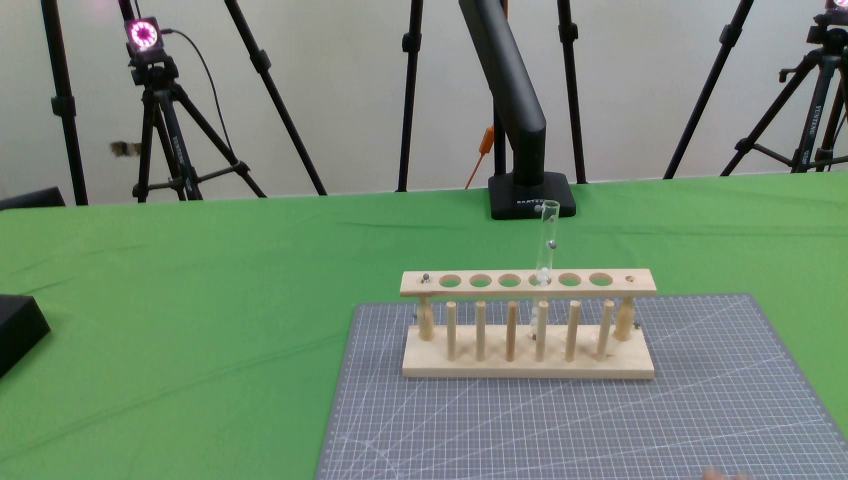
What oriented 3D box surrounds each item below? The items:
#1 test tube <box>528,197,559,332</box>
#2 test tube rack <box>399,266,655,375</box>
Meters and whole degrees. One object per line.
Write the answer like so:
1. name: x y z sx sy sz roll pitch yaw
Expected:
1. test tube: 0.115 0.028 0.586 0.017 0.151 0.017 0 30 0
2. test tube rack: 0.098 0.080 0.599 0.242 0.086 0.066 -1 33 6
